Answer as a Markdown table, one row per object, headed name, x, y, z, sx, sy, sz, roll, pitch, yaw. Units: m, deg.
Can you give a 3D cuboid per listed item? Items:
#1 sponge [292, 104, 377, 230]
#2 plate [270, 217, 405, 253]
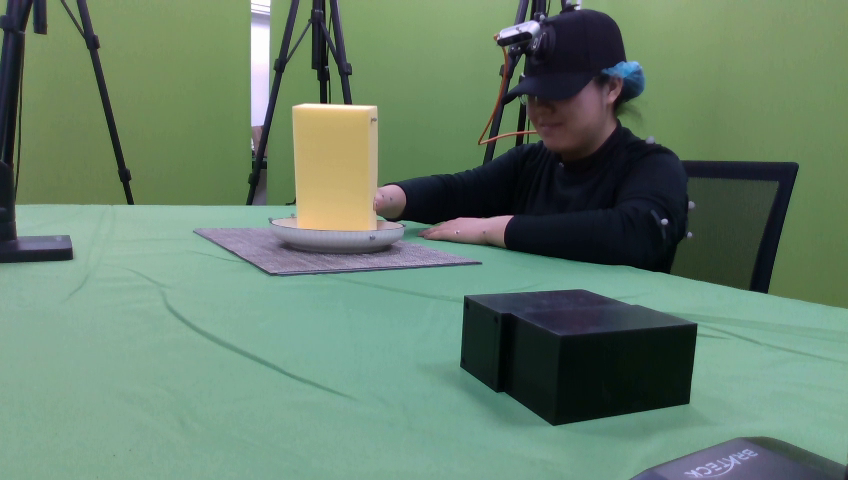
| name | x | y | z | sx | sy | sz | roll | pitch | yaw |
| --- | --- | --- | --- | --- | --- | --- | --- | --- | --- |
| sponge | -0.137 | -0.106 | 0.947 | 0.118 | 0.207 | 0.061 | 4 | 19 | 7 |
| plate | -0.134 | -0.009 | 0.946 | 0.208 | 0.039 | 0.207 | 3 | 7 | 0 |
